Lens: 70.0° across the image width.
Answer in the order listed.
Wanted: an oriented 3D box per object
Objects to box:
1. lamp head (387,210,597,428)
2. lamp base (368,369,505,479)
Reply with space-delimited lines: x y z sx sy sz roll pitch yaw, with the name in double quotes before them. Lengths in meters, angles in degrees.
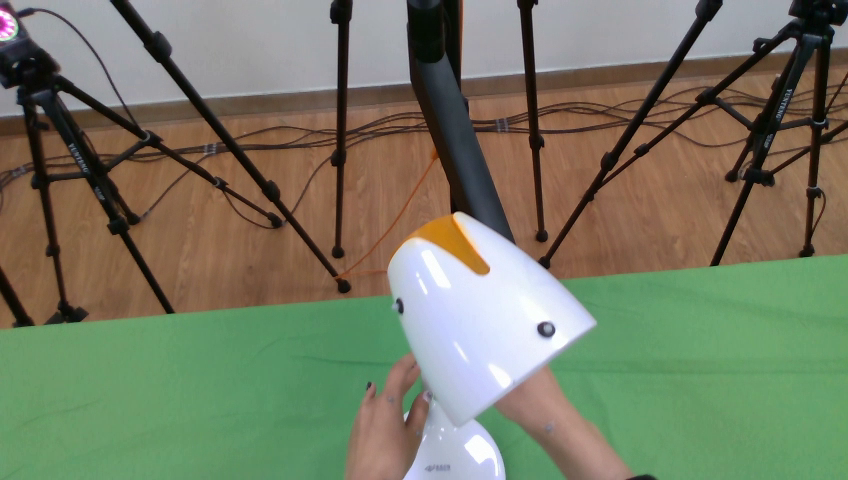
"lamp head" 0.032 0.043 0.398 0.112 0.113 0.122 -31 67 -20
"lamp base" 0.009 0.220 0.663 0.161 0.182 0.177 -12 51 -7
